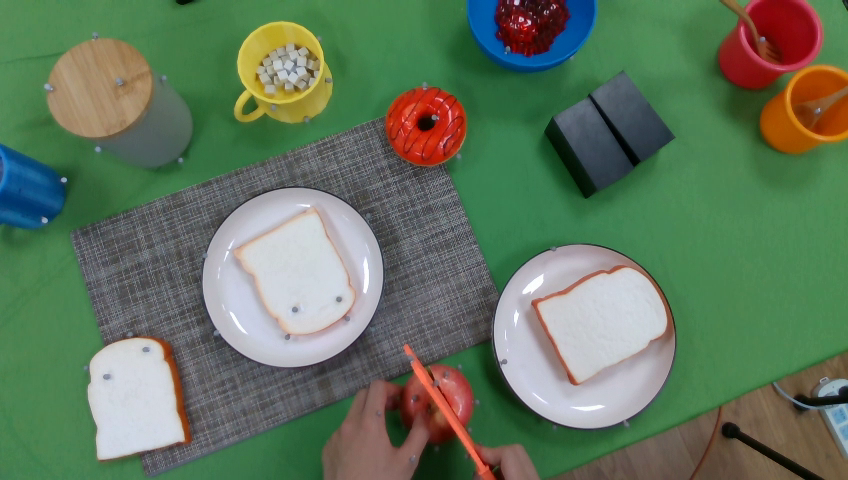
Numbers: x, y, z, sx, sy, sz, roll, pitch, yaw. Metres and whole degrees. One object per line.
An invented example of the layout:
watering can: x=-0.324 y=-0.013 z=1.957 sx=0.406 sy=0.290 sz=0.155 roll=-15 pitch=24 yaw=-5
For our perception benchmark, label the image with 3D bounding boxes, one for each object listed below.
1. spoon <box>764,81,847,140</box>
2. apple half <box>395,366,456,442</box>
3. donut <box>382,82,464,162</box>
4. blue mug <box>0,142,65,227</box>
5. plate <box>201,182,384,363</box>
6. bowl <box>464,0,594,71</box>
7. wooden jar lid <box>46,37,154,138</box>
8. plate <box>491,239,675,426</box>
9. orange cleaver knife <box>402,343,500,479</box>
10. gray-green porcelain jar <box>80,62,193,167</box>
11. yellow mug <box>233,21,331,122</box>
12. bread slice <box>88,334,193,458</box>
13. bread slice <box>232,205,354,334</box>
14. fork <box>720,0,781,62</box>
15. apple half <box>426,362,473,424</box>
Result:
spoon: x=0.482 y=-0.176 z=0.683 sx=0.022 sy=0.194 sz=0.041 roll=-18 pitch=77 yaw=-48
apple half: x=-0.004 y=0.185 z=0.667 sx=0.053 sy=0.075 sz=0.080 roll=-27 pitch=86 yaw=-2
donut: x=0.000 y=-0.140 z=0.725 sx=0.099 sy=0.048 sz=0.098 roll=0 pitch=83 yaw=0
blue mug: x=-0.487 y=-0.052 z=0.682 sx=0.082 sy=0.106 sz=0.116 roll=42 pitch=84 yaw=6
plate: x=-0.149 y=0.037 z=0.702 sx=0.208 sy=0.039 sz=0.207 roll=0 pitch=82 yaw=0
bowl: x=0.120 y=-0.265 z=0.730 sx=0.151 sy=0.077 sz=0.151 roll=0 pitch=82 yaw=0
wooden jar lid: x=-0.331 y=-0.155 z=0.625 sx=0.108 sy=0.021 sz=0.108 roll=0 pitch=80 yaw=1
plate: x=0.179 y=0.104 z=0.697 sx=0.209 sy=0.038 sz=0.208 roll=0 pitch=82 yaw=0
orange cleaver knife: x=0.039 y=0.194 z=0.611 sx=0.012 sy=0.077 sz=0.212 roll=-34 pitch=98 yaw=-4
gray-green porcelain jar: x=-0.330 y=-0.145 z=0.686 sx=0.106 sy=0.127 sz=0.105 roll=0 pitch=81 yaw=0
yellow mug: x=-0.177 y=-0.189 z=0.724 sx=0.099 sy=0.064 sz=0.131 roll=44 pitch=85 yaw=6
bread slice: x=-0.330 y=0.175 z=0.691 sx=0.105 sy=0.019 sz=0.131 roll=-14 pitch=83 yaw=-3
bread slice: x=-0.142 y=0.039 z=0.702 sx=0.107 sy=0.018 sz=0.134 roll=-33 pitch=82 yaw=-4
fork: x=0.364 y=-0.253 z=0.695 sx=0.209 sy=0.018 sz=0.028 roll=18 pitch=78 yaw=-40
apple half: x=0.034 y=0.162 z=0.671 sx=0.033 sy=0.081 sz=0.081 roll=-31 pitch=82 yaw=-4
